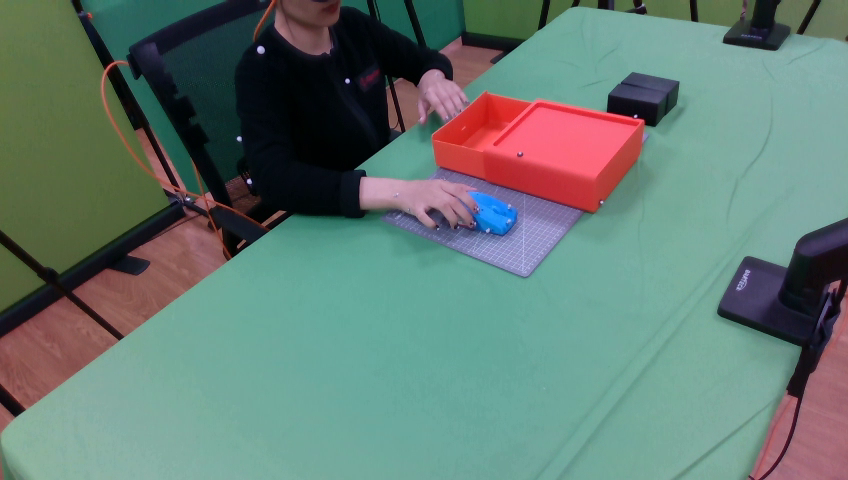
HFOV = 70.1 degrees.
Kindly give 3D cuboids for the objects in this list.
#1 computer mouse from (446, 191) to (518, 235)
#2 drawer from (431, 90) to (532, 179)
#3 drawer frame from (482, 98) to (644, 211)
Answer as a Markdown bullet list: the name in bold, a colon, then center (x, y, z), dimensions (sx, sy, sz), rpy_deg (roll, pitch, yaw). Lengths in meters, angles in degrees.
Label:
- **computer mouse**: center (0.097, -0.048, 1.004), dimensions (0.116, 0.041, 0.063), rpy_deg (18, 45, 24)
- **drawer**: center (0.154, -0.192, 1.131), dimensions (0.210, 0.073, 0.195), rpy_deg (21, 48, 30)
- **drawer frame**: center (0.246, -0.158, 1.071), dimensions (0.212, 0.083, 0.202), rpy_deg (21, 48, 30)
